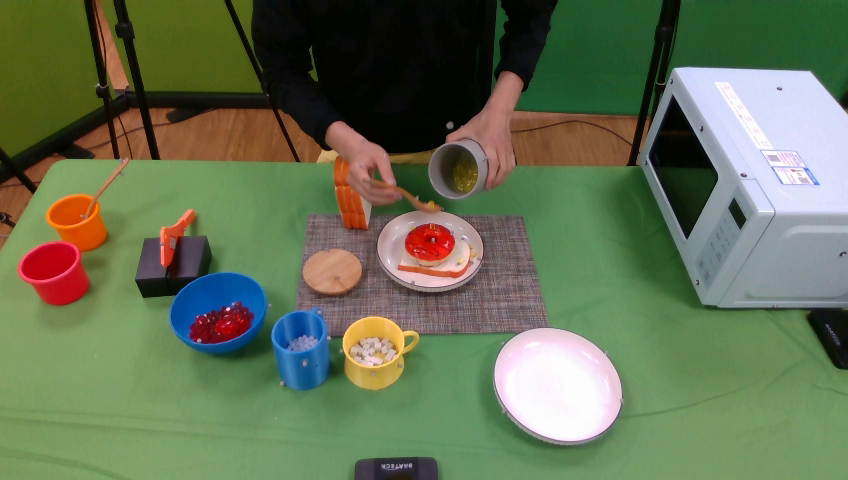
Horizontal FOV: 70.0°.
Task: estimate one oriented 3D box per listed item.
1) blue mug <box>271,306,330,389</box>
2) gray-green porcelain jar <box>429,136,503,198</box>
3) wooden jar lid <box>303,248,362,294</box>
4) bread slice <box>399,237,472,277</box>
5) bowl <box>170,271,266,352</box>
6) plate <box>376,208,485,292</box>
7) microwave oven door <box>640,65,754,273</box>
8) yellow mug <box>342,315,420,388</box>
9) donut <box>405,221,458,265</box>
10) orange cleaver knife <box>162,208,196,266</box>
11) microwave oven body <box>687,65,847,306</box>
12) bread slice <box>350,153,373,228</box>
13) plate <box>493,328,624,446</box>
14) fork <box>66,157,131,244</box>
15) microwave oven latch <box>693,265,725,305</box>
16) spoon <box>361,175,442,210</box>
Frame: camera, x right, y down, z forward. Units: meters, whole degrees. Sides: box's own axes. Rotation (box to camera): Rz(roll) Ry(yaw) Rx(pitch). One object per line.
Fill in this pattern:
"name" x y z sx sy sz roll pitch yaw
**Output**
"blue mug" -0.188 0.163 0.969 0.082 0.106 0.116 15 47 10
"gray-green porcelain jar" 0.084 -0.140 1.139 0.105 0.106 0.126 28 25 21
"wooden jar lid" -0.169 0.060 1.122 0.108 0.021 0.107 2 46 -2
"bread slice" 0.026 0.024 1.160 0.131 0.019 0.104 7 47 7
"bowl" -0.333 0.132 1.006 0.151 0.077 0.150 2 46 -2
"plate" 0.012 0.021 1.159 0.209 0.038 0.208 2 46 -2
"microwave oven door" 0.523 -0.147 1.193 0.039 0.245 0.353 0 47 -3
"yellow mug" -0.068 0.177 0.990 0.131 0.064 0.099 -15 50 -19
"donut" 0.014 0.004 1.136 0.099 0.048 0.098 0 46 0
"orange cleaver knife" -0.454 -0.010 1.129 0.012 0.077 0.210 -1 17 -6
"microwave oven body" 0.669 -0.111 1.176 0.326 0.261 0.439 0 46 -3
"bread slice" -0.124 -0.104 1.207 0.018 0.135 0.106 -1 48 6
"plate" 0.213 0.236 0.974 0.208 0.039 0.206 2 46 -2
"fork" -0.608 -0.074 1.132 0.207 0.019 0.028 -52 49 10
"microwave oven latch" 0.522 0.081 1.115 0.030 0.029 0.078 2 46 -1
"spoon" -0.036 -0.080 1.001 0.041 0.195 0.021 27 93 40
